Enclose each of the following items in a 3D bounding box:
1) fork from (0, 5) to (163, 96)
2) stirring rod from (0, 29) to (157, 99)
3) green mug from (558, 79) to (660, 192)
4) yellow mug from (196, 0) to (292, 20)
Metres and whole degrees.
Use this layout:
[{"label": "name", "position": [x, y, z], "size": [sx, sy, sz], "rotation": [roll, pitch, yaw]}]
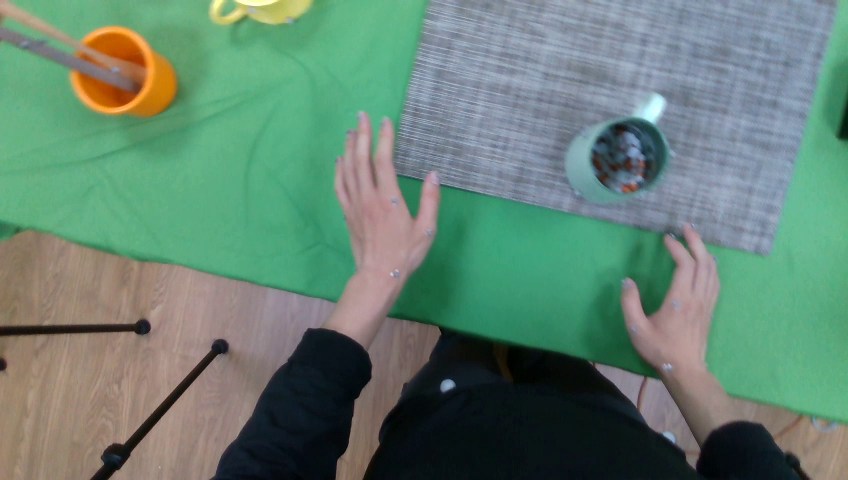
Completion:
[{"label": "fork", "position": [-0.379, -0.207, 0.636], "size": [0.209, 0.018, 0.028], "rotation": [24, 93, -43]}, {"label": "stirring rod", "position": [-0.374, -0.187, 0.641], "size": [0.178, 0.006, 0.014], "rotation": [17, 86, -39]}, {"label": "green mug", "position": [0.203, -0.112, 0.643], "size": [0.092, 0.105, 0.125], "rotation": [29, 95, 1]}, {"label": "yellow mug", "position": [-0.202, -0.294, 0.666], "size": [0.100, 0.064, 0.131], "rotation": [44, 95, -2]}]
